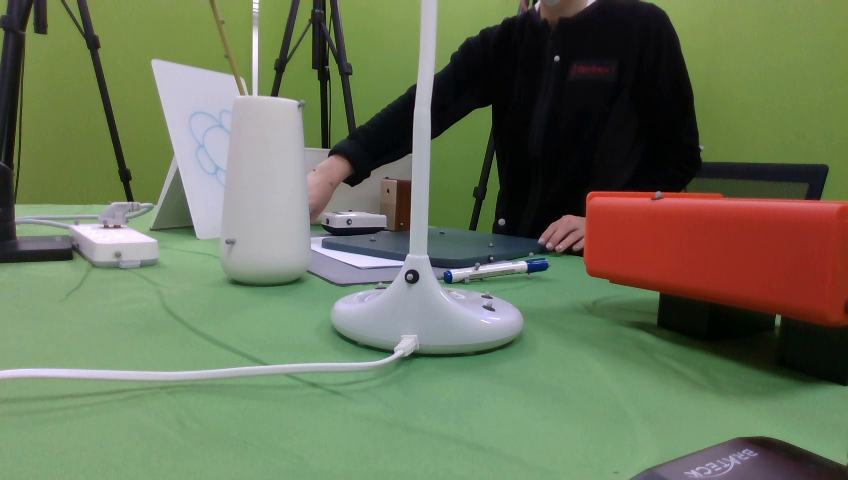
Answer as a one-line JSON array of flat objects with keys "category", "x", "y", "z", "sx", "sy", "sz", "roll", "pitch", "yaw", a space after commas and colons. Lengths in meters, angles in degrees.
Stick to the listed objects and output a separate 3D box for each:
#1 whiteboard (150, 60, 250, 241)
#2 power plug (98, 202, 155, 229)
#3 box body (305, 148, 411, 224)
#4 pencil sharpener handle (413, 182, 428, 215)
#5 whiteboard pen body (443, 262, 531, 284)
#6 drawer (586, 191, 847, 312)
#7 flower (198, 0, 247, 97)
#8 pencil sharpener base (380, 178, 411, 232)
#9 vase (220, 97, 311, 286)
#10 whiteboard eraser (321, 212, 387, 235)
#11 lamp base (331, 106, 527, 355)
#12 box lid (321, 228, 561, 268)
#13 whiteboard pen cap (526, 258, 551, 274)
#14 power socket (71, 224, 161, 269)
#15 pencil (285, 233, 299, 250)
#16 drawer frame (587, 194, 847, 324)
[{"category": "whiteboard", "x": -0.408, "y": -0.139, "z": 1.093, "sx": 0.143, "sy": 0.305, "sz": 0.218, "roll": -15, "pitch": -1, "yaw": 26}, {"category": "power plug", "x": -0.416, "y": -0.027, "z": 0.848, "sx": 0.073, "sy": 0.052, "sz": 0.035, "roll": 0, "pitch": 8, "yaw": -28}, {"category": "box body", "x": -0.230, "y": -0.126, "z": 1.371, "sx": 0.366, "sy": 0.160, "sz": 0.253, "roll": -2, "pitch": 8, "yaw": -33}, {"category": "pencil sharpener handle", "x": -0.003, "y": -0.086, "z": 1.254, "sx": 0.031, "sy": 0.067, "sz": 0.036, "roll": -3, "pitch": 20, "yaw": -37}, {"category": "whiteboard pen body", "x": 0.087, "y": 0.038, "z": 0.734, "sx": 0.141, "sy": 0.017, "sz": 0.017, "roll": -5, "pitch": 10, "yaw": -27}, {"category": "drawer", "x": 0.281, "y": 0.001, "z": 0.513, "sx": 0.195, "sy": 0.073, "sz": 0.210, "roll": -1, "pitch": 8, "yaw": -29}, {"category": "flower", "x": -0.187, "y": -0.133, "z": 0.648, "sx": 0.038, "sy": 0.362, "sz": 0.044, "roll": -1, "pitch": 22, "yaw": 43}, {"category": "pencil sharpener base", "x": -0.042, "y": -0.071, "z": 1.222, "sx": 0.077, "sy": 0.107, "sz": 0.061, "roll": -3, "pitch": 8, "yaw": -37}, {"category": "vase", "x": -0.172, "y": -0.052, "z": 0.662, "sx": 0.098, "sy": 0.200, "sz": 0.098, "roll": 3, "pitch": 9, "yaw": 0}, {"category": "whiteboard eraser", "x": -0.128, "y": -0.031, "z": 1.108, "sx": 0.113, "sy": 0.042, "sz": 0.055, "roll": -3, "pitch": 7, "yaw": -38}, {"category": "lamp base", "x": 0.006, "y": -0.012, "z": 0.478, "sx": 0.161, "sy": 0.180, "sz": 0.179, "roll": 2, "pitch": 10, "yaw": 2}, {"category": "box lid", "x": 0.040, "y": 0.008, "z": 0.996, "sx": 0.262, "sy": 0.015, "sz": 0.373, "roll": 7, "pitch": 8, "yaw": 34}, {"category": "whiteboard pen cap", "x": 0.141, "y": 0.033, "z": 0.759, "sx": 0.033, "sy": 0.018, "sz": 0.018, "roll": -8, "pitch": 11, "yaw": -26}, {"category": "power socket", "x": -0.408, "y": 0.004, "z": 0.793, "sx": 0.072, "sy": 0.032, "sz": 0.225, "roll": -2, "pitch": 8, "yaw": -38}, {"category": "pencil", "x": -0.209, "y": 0.000, "z": 0.969, "sx": 0.012, "sy": 0.012, "sz": 0.193, "roll": 1, "pitch": 6, "yaw": -8}, {"category": "drawer frame", "x": 0.286, "y": 0.004, "z": 0.508, "sx": 0.203, "sy": 0.082, "sz": 0.212, "roll": -1, "pitch": 6, "yaw": -30}]
